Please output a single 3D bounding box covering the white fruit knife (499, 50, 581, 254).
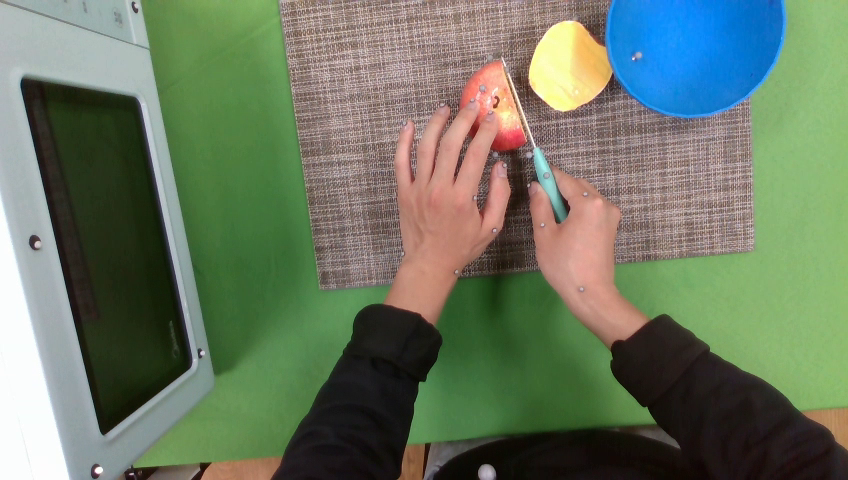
[{"bbox_3d":[0.108,-0.083,0.578,0.016,0.027,0.207,-21,92,5],"label":"white fruit knife"}]

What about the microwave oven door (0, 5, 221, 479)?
[{"bbox_3d":[-0.270,0.003,0.515,0.039,0.243,0.356,-8,99,5],"label":"microwave oven door"}]

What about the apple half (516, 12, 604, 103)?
[{"bbox_3d":[0.125,-0.170,0.574,0.081,0.032,0.081,2,104,8],"label":"apple half"}]

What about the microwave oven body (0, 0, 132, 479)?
[{"bbox_3d":[-0.420,-0.020,0.525,0.326,0.259,0.443,-8,99,4],"label":"microwave oven body"}]

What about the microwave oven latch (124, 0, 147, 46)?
[{"bbox_3d":[-0.291,-0.227,0.580,0.030,0.029,0.079,-7,100,4],"label":"microwave oven latch"}]

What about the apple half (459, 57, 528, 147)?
[{"bbox_3d":[0.061,-0.124,0.572,0.053,0.074,0.081,-20,101,15],"label":"apple half"}]

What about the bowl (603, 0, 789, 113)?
[{"bbox_3d":[0.231,-0.189,0.548,0.151,0.076,0.151,1,99,4],"label":"bowl"}]
